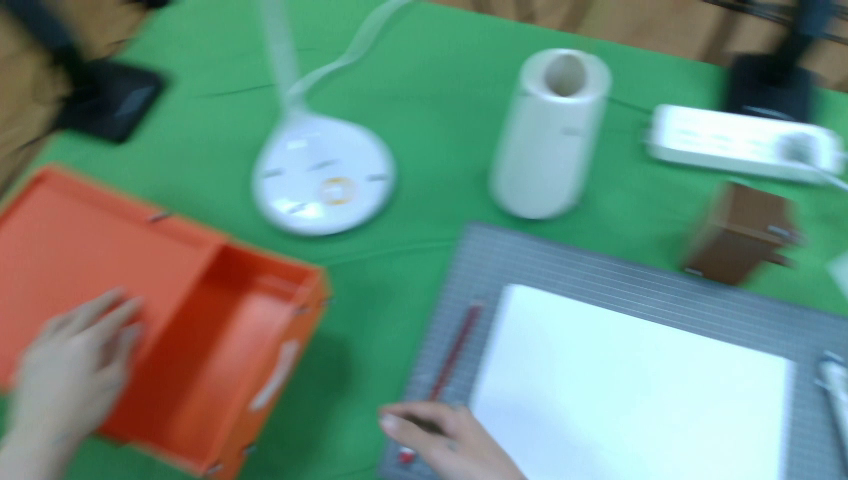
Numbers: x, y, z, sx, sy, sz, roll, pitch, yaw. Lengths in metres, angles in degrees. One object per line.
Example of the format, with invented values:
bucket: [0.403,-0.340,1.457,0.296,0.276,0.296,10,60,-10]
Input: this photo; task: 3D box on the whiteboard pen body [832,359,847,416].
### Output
whiteboard pen body: [0.423,0.184,0.585,0.017,0.017,0.139,1,61,2]

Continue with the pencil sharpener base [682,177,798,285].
pencil sharpener base: [0.333,-0.006,0.643,0.076,0.108,0.061,18,63,10]

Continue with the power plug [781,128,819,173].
power plug: [0.434,-0.099,0.707,0.035,0.053,0.072,19,65,12]

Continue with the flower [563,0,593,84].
flower: [0.140,-0.163,0.585,0.038,0.364,0.043,5,43,-4]

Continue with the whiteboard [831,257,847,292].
whiteboard: [0.596,0.034,0.540,0.144,0.307,0.215,-5,59,-23]

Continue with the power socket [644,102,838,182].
power socket: [0.390,-0.122,0.746,0.226,0.033,0.071,10,63,6]

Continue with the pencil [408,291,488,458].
pencil: [0.029,0.132,0.626,0.012,0.012,0.193,22,63,13]

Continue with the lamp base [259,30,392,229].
lamp base: [-0.129,-0.129,0.674,0.160,0.182,0.177,-35,64,-17]

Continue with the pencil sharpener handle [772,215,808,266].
pencil sharpener handle: [0.381,0.004,0.624,0.030,0.068,0.036,18,62,10]

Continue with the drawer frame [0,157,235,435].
drawer frame: [-0.320,0.049,0.586,0.213,0.083,0.200,22,65,7]

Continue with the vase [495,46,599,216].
vase: [0.129,-0.110,0.650,0.098,0.201,0.097,-1,61,2]

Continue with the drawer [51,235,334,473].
drawer: [-0.221,0.083,0.570,0.211,0.074,0.193,18,64,11]
